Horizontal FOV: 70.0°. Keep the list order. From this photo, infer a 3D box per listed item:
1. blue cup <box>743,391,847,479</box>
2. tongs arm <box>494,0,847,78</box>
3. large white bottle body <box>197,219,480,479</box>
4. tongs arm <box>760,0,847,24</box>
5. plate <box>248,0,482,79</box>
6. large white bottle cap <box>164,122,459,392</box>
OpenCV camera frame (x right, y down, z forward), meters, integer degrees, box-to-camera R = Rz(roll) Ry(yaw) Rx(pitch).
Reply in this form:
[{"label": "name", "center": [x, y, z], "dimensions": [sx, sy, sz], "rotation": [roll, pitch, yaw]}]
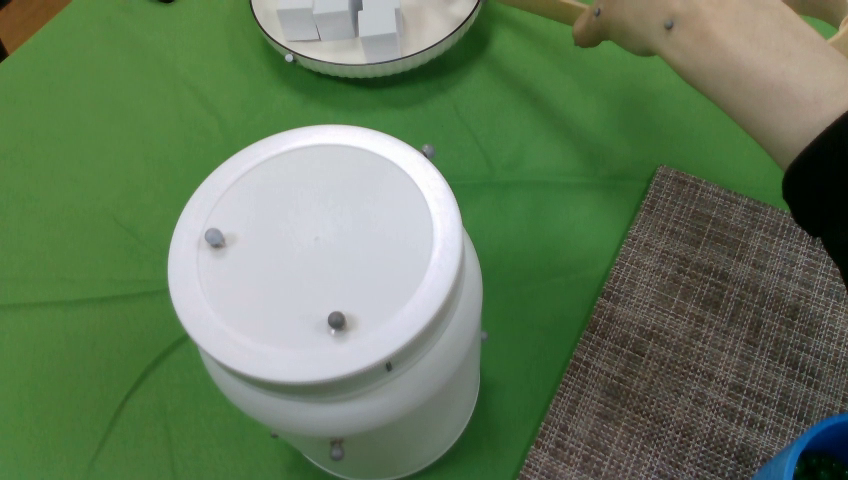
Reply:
[{"label": "blue cup", "center": [0.195, 0.136, 0.291], "dimensions": [0.092, 0.101, 0.092], "rotation": [-3, 60, 5]}, {"label": "tongs arm", "center": [0.096, -0.183, 0.435], "dimensions": [0.051, 0.027, 0.380], "rotation": [-45, 49, -5]}, {"label": "large white bottle body", "center": [-0.037, 0.044, 0.314], "dimensions": [0.130, 0.186, 0.129], "rotation": [-1, 61, 3]}, {"label": "tongs arm", "center": [0.111, -0.201, 0.437], "dimensions": [0.028, 0.028, 0.383], "rotation": [-46, 49, -10]}, {"label": "plate", "center": [-0.049, -0.219, 0.542], "dimensions": [0.207, 0.039, 0.206], "rotation": [-1, 61, 3]}, {"label": "large white bottle cap", "center": [-0.043, 0.002, 0.239], "dimensions": [0.115, 0.018, 0.114], "rotation": [-2, 61, 3]}]
